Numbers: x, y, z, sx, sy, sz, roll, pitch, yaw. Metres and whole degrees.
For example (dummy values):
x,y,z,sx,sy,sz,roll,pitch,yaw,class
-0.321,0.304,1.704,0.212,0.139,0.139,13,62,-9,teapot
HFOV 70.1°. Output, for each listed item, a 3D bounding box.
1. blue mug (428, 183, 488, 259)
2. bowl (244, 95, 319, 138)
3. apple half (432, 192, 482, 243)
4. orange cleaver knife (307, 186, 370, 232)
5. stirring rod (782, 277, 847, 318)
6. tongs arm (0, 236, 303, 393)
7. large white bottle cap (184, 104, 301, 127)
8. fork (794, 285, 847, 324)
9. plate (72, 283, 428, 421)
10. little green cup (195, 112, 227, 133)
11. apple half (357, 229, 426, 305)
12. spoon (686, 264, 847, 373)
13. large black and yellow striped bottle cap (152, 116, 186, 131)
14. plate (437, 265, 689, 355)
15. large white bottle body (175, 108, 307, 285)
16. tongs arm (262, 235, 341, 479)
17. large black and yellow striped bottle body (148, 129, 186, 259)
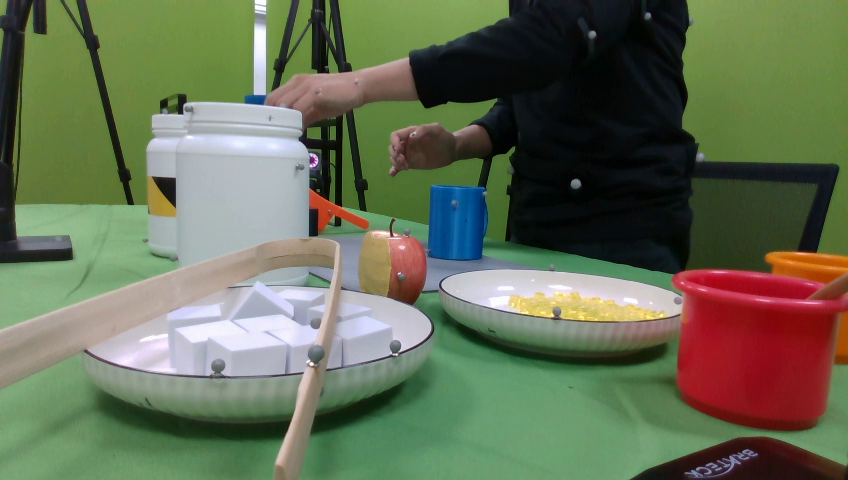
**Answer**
x,y,z,sx,sy,sz,roll,pitch,yaw,class
0.059,-0.031,0.907,0.082,0.106,0.117,9,10,42,blue mug
-0.293,-0.251,1.249,0.151,0.077,0.151,2,8,0,bowl
0.048,-0.036,0.905,0.081,0.081,0.033,2,15,-2,apple half
-0.197,-0.056,1.141,0.212,0.077,0.012,29,0,-34,orange cleaver knife
0.344,0.019,0.460,0.014,0.006,0.176,-13,-27,-30,stirring rod
-0.157,0.037,0.351,0.028,0.028,0.388,-3,8,12,tongs arm
-0.184,-0.126,0.618,0.115,0.018,0.115,2,8,0,large white bottle cap
0.332,0.018,0.443,0.028,0.018,0.207,-1,-36,-15,fork
-0.102,0.066,0.381,0.208,0.039,0.207,2,7,0,plate
-0.412,-0.227,1.171,0.061,0.038,0.061,3,8,0,little green cup
-0.026,0.028,0.570,0.053,0.074,0.080,2,2,-28,apple half
0.214,0.032,0.328,0.042,0.021,0.193,-3,-35,-26,spoon
-0.309,-0.155,0.826,0.115,0.019,0.115,3,6,0,large black and yellow striped bottle cap
0.114,0.057,0.517,0.209,0.038,0.209,3,8,0,plate
-0.188,-0.042,0.630,0.131,0.184,0.130,2,8,0,large white bottle body
-0.074,0.039,0.349,0.051,0.026,0.384,-1,9,-3,tongs arm
-0.310,-0.072,0.838,0.131,0.184,0.130,2,8,0,large black and yellow striped bottle body
